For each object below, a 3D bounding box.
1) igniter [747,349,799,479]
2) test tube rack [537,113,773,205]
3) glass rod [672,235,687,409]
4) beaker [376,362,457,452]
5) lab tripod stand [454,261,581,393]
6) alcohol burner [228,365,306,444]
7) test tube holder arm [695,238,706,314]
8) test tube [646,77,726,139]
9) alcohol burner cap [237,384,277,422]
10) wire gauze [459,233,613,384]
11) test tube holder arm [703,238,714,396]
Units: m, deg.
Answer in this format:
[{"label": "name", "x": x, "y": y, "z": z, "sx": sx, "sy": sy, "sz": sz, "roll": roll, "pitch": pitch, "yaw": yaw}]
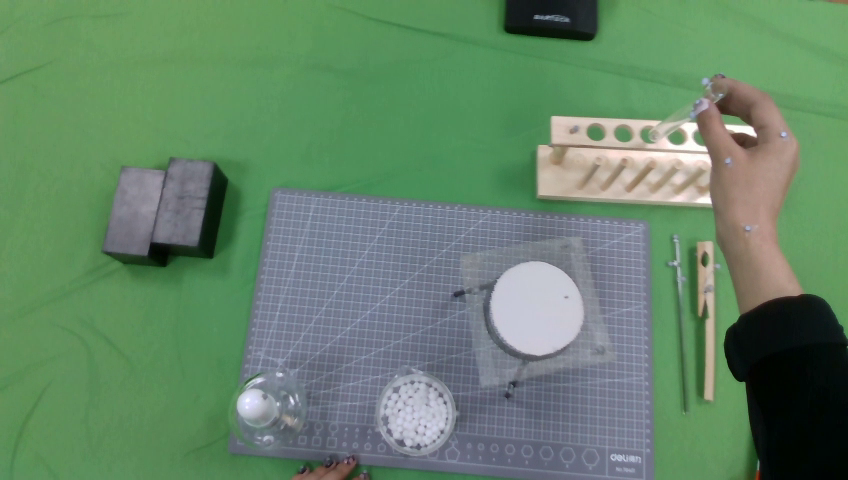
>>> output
[{"label": "igniter", "x": 0.360, "y": 0.251, "z": 0.637, "sx": 0.057, "sy": 0.025, "sz": 0.275, "roll": 19, "pitch": 75, "yaw": -7}, {"label": "test tube rack", "x": 0.259, "y": -0.091, "z": 0.697, "sx": 0.242, "sy": 0.085, "sz": 0.066, "roll": 3, "pitch": 74, "yaw": -1}, {"label": "glass rod", "x": 0.289, "y": 0.089, "z": 0.688, "sx": 0.008, "sy": 0.008, "sz": 0.198, "roll": 4, "pitch": 74, "yaw": -1}, {"label": "beaker", "x": -0.010, "y": 0.167, "z": 0.608, "sx": 0.074, "sy": 0.101, "sz": 0.083, "roll": -16, "pitch": 75, "yaw": -6}, {"label": "lab tripod stand", "x": 0.094, "y": 0.079, "z": 0.618, "sx": 0.148, "sy": 0.132, "sz": 0.147, "roll": 0, "pitch": 75, "yaw": 0}, {"label": "alcohol burner", "x": -0.158, "y": 0.161, "z": 0.597, "sx": 0.078, "sy": 0.120, "sz": 0.077, "roll": 0, "pitch": 72, "yaw": -1}, {"label": "test tube holder arm", "x": 0.320, "y": 0.041, "z": 0.698, "sx": 0.010, "sy": 0.015, "sz": 0.087, "roll": -5, "pitch": 72, "yaw": 33}, {"label": "test tube", "x": 0.243, "y": -0.121, "z": 0.573, "sx": 0.017, "sy": 0.150, "sz": 0.017, "roll": 0, "pitch": 84, "yaw": 0}, {"label": "alcohol burner cap", "x": -0.158, "y": 0.149, "z": 0.563, "sx": 0.034, "sy": 0.048, "sz": 0.033, "roll": 2, "pitch": 65, "yaw": -3}, {"label": "wire gauze", "x": 0.100, "y": 0.059, "z": 0.554, "sx": 0.121, "sy": 0.011, "sz": 0.124, "roll": -9, "pitch": 75, "yaw": -3}, {"label": "test tube holder arm", "x": 0.321, "y": 0.084, "z": 0.684, "sx": 0.013, "sy": 0.015, "sz": 0.177, "roll": -5, "pitch": 72, "yaw": 32}]
